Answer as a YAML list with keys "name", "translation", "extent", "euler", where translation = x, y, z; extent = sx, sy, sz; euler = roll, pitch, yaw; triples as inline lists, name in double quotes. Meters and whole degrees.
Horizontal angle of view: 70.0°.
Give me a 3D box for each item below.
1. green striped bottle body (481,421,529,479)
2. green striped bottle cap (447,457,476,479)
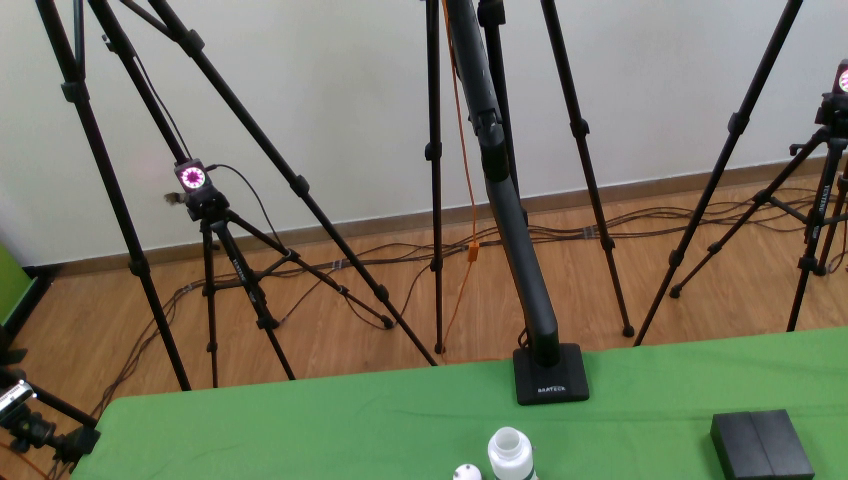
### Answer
- name: "green striped bottle body"
  translation: [0.120, 0.315, 0.894]
  extent: [0.063, 0.120, 0.062]
  euler: [-8, 41, 7]
- name: "green striped bottle cap"
  translation: [0.059, 0.361, 0.942]
  extent: [0.044, 0.020, 0.044]
  euler: [-7, 47, 8]
